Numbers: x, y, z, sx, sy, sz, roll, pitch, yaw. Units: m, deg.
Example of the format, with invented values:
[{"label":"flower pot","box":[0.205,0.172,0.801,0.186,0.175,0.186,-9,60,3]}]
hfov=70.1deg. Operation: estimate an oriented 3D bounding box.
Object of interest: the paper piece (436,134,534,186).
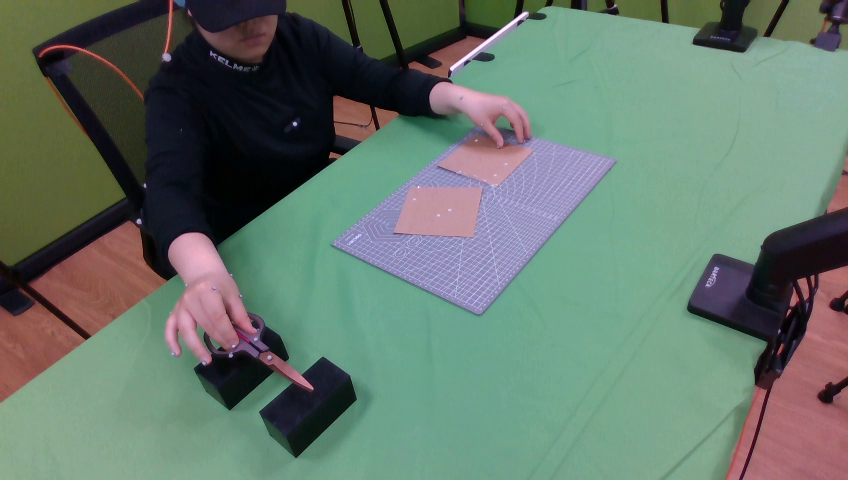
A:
[{"label":"paper piece","box":[0.116,-0.155,1.143,0.135,0.009,0.138,25,48,27]}]

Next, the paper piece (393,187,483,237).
[{"label":"paper piece","box":[0.027,-0.051,1.033,0.135,0.004,0.135,3,41,12]}]

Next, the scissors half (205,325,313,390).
[{"label":"scissors half","box":[-0.203,0.146,0.736,0.174,0.013,0.040,19,38,24]}]

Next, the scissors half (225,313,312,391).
[{"label":"scissors half","box":[-0.191,0.137,0.749,0.040,0.013,0.173,-32,47,-31]}]
